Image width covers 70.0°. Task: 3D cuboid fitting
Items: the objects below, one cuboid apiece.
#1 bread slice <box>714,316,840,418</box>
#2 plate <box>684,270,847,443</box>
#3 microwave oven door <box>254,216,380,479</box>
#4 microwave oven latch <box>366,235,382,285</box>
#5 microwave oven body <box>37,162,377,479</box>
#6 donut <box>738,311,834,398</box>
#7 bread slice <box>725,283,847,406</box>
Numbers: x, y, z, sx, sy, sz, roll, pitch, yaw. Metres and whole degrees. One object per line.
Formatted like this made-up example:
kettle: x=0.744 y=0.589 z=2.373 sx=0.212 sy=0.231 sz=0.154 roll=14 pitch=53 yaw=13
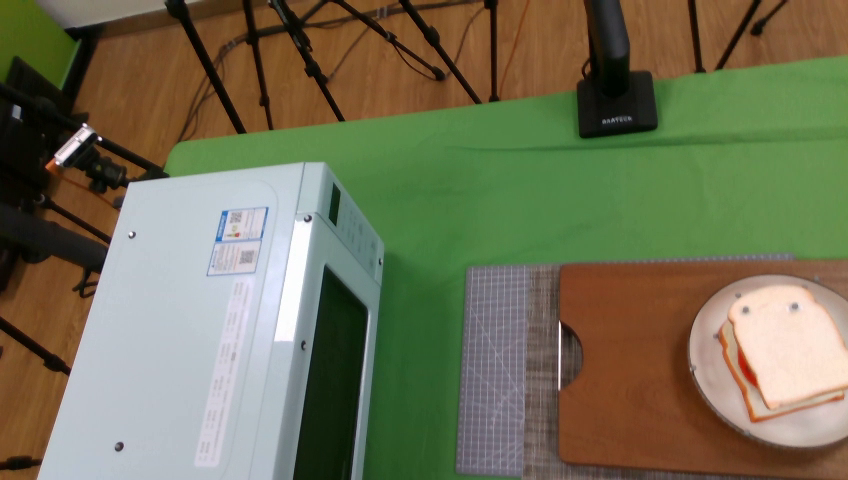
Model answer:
bread slice: x=0.413 y=0.139 z=0.727 sx=0.105 sy=0.019 sz=0.130 roll=-18 pitch=62 yaw=6
plate: x=0.420 y=0.137 z=0.721 sx=0.207 sy=0.039 sz=0.206 roll=-7 pitch=62 yaw=14
microwave oven door: x=-0.124 y=0.179 z=0.765 sx=0.039 sy=0.246 sz=0.353 roll=-5 pitch=62 yaw=15
microwave oven latch: x=-0.083 y=0.031 z=0.949 sx=0.030 sy=0.030 sz=0.078 roll=-4 pitch=63 yaw=15
microwave oven body: x=-0.261 y=0.157 z=0.826 sx=0.325 sy=0.263 sz=0.438 roll=-4 pitch=63 yaw=15
donut: x=0.413 y=0.131 z=0.693 sx=0.099 sy=0.048 sz=0.098 roll=-4 pitch=67 yaw=10
bread slice: x=0.401 y=0.111 z=0.672 sx=0.107 sy=0.018 sz=0.133 roll=-22 pitch=53 yaw=7
